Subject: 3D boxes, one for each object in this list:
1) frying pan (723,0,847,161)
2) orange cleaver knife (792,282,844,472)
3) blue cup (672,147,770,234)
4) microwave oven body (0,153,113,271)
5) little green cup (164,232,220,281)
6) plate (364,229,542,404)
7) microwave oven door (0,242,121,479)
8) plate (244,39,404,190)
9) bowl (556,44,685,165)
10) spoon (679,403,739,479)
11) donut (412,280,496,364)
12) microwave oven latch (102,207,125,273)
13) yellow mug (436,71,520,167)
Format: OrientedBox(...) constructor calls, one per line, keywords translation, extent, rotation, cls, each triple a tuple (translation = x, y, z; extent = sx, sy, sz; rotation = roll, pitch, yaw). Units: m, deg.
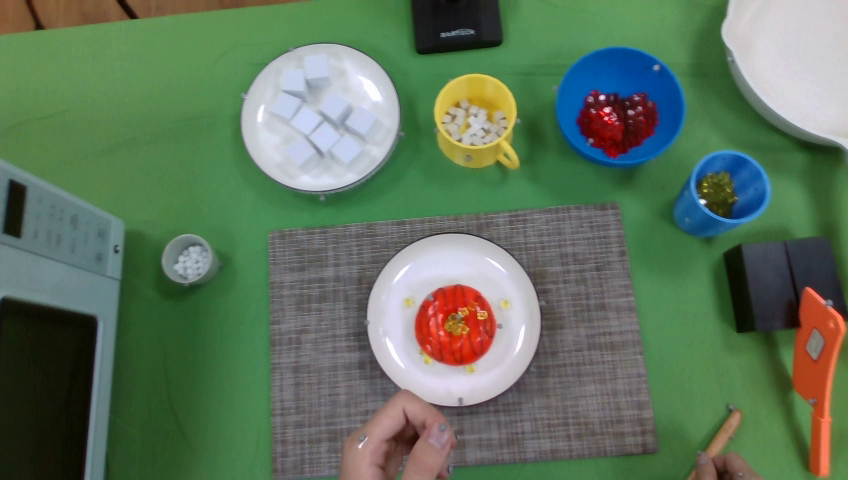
OrientedBox(translation=(0.518, -0.153, 0.722), extent=(0.307, 0.103, 0.484), rotation=(0, 69, 4), cls="frying pan")
OrientedBox(translation=(0.431, 0.153, 0.671), extent=(0.012, 0.077, 0.212), rotation=(-5, 106, 2), cls="orange cleaver knife")
OrientedBox(translation=(0.338, -0.049, 0.710), extent=(0.092, 0.101, 0.092), rotation=(-1, 75, 3), cls="blue cup")
OrientedBox(translation=(-0.545, 0.155, 0.629), extent=(0.326, 0.261, 0.439), rotation=(-2, 78, 2), cls="microwave oven body")
OrientedBox(translation=(-0.288, 0.023, 0.761), extent=(0.061, 0.039, 0.061), rotation=(0, 79, 2), cls="little green cup")
OrientedBox(translation=(0.034, 0.090, 0.725), extent=(0.209, 0.038, 0.208), rotation=(-1, 78, 3), cls="plate")
OrientedBox(translation=(-0.399, 0.192, 0.607), extent=(0.039, 0.245, 0.354), rotation=(-2, 77, 3), cls="microwave oven door")
OrientedBox(translation=(-0.128, -0.162, 0.794), extent=(0.207, 0.039, 0.206), rotation=(-1, 77, 3), cls="plate")
OrientedBox(translation=(0.235, -0.156, 0.752), extent=(0.151, 0.077, 0.150), rotation=(-1, 78, 3), cls="bowl")
OrientedBox(translation=(0.302, 0.262, 0.684), extent=(0.041, 0.022, 0.193), rotation=(38, 82, 23), cls="spoon")
OrientedBox(translation=(0.035, 0.096, 0.713), extent=(0.099, 0.048, 0.098), rotation=(-1, 81, 4), cls="donut")
OrientedBox(translation=(-0.394, 0.001, 0.754), extent=(0.030, 0.029, 0.079), rotation=(0, 78, 3), cls="microwave oven latch")
OrientedBox(translation=(0.076, -0.142, 0.764), extent=(0.100, 0.064, 0.130), rotation=(-41, 79, -6), cls="yellow mug")
